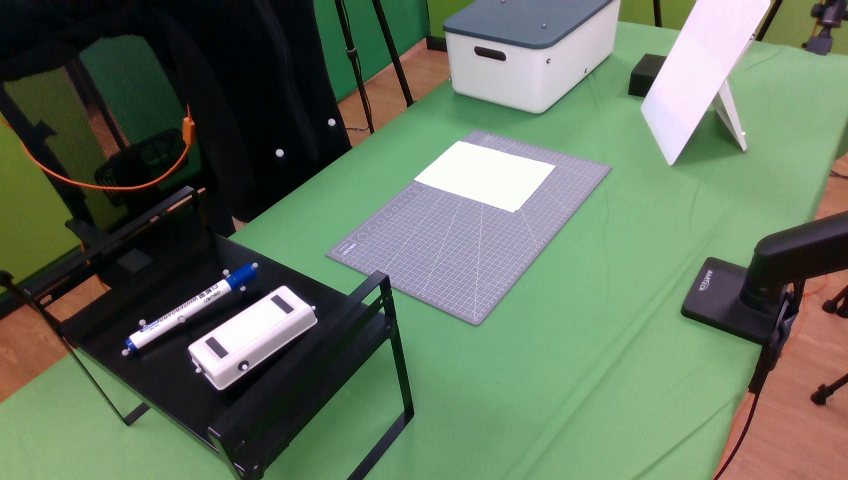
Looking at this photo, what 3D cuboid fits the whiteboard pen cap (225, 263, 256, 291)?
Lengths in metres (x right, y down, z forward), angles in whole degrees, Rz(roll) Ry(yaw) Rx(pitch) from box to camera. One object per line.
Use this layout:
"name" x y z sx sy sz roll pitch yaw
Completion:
"whiteboard pen cap" -0.204 0.041 0.668 0.033 0.018 0.018 -36 48 -22

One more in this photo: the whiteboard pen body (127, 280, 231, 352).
"whiteboard pen body" -0.248 0.072 0.645 0.141 0.017 0.017 -35 47 -23

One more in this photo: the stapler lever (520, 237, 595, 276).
"stapler lever" 0.193 0.018 0.875 0.118 0.040 0.026 -21 43 -17

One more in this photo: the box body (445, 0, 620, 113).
"box body" 0.249 -0.447 1.356 0.252 0.161 0.365 23 49 31

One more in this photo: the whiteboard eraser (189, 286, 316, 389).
"whiteboard eraser" -0.166 0.096 0.593 0.113 0.042 0.055 -36 47 -29

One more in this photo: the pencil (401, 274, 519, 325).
"pencil" 0.056 0.082 0.872 0.195 0.012 0.012 -20 42 -19

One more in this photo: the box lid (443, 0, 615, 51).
"box lid" 0.243 -0.504 1.308 0.261 0.015 0.372 24 50 31

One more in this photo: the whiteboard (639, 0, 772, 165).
"whiteboard" 0.543 -0.298 1.076 0.144 0.305 0.216 12 40 -7

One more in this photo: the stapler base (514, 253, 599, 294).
"stapler base" 0.195 0.039 0.891 0.131 0.024 0.041 -22 43 -16
